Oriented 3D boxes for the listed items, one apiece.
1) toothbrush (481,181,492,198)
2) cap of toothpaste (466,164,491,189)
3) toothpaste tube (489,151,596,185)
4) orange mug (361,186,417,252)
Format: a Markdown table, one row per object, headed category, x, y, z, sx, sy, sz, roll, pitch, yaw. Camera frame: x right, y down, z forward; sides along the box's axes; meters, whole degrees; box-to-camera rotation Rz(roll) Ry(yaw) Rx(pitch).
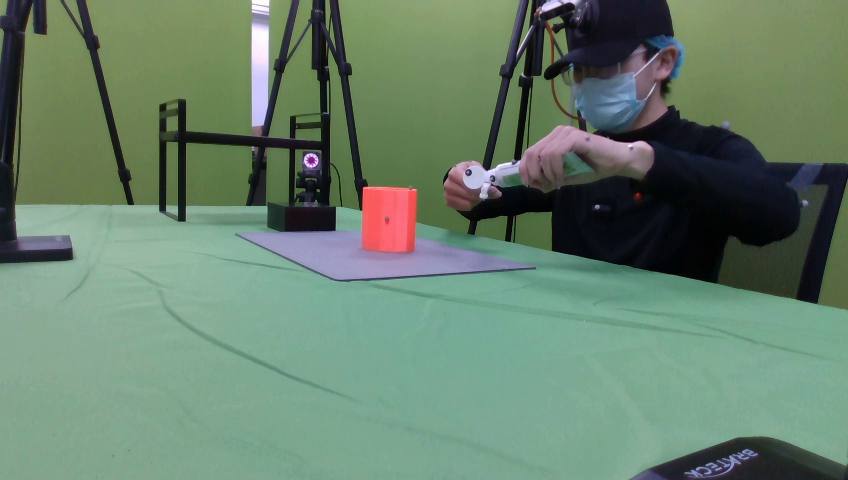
| category | x | y | z | sx | sy | sz | roll | pitch | yaw |
| --- | --- | --- | --- | --- | --- | --- | --- | --- | --- |
| toothbrush | 0.102 | -0.088 | 0.977 | 0.014 | 0.016 | 0.182 | 0 | 11 | 8 |
| cap of toothpaste | 0.080 | -0.094 | 0.888 | 0.037 | 0.037 | 0.011 | 5 | 6 | 17 |
| toothpaste tube | 0.154 | -0.100 | 0.839 | 0.055 | 0.034 | 0.164 | 21 | -17 | -39 |
| orange mug | -0.054 | -0.039 | 0.962 | 0.083 | 0.101 | 0.126 | 2 | 12 | 0 |
